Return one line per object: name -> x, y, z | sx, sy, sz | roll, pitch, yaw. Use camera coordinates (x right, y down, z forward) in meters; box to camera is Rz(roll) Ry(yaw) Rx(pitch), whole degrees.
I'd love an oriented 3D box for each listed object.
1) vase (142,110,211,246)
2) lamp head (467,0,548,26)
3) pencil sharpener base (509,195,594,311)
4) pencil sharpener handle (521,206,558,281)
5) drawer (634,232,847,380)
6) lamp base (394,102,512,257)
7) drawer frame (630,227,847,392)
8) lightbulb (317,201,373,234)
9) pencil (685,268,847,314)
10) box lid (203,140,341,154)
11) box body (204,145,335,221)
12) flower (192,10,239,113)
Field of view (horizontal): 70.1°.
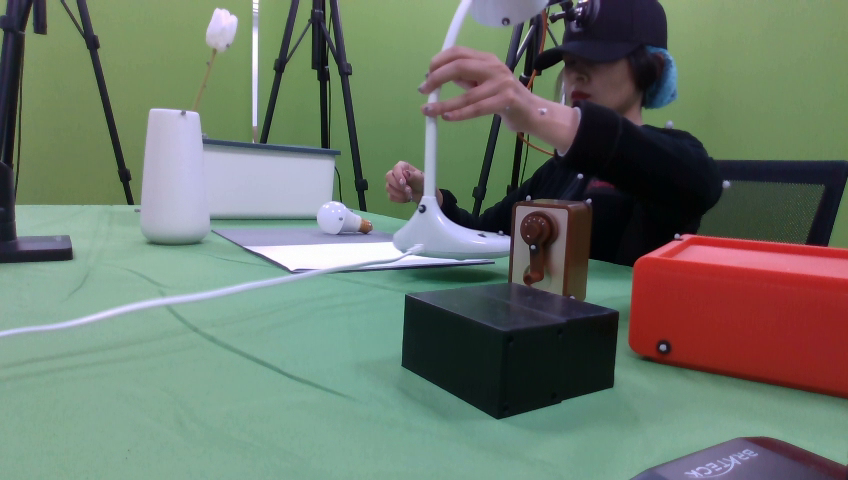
vase -> -0.378, -0.093, 0.920 | 0.098, 0.200, 0.098 | 2, 9, 0
lamp head -> 0.098, -0.352, 0.773 | 0.112, 0.112, 0.123 | 5, -28, 22
pencil sharpener base -> 0.126, 0.011, 0.601 | 0.061, 0.107, 0.077 | 7, 9, 30
pencil sharpener handle -> 0.102, 0.003, 0.555 | 0.036, 0.067, 0.031 | -1, 5, 31
drawer -> 0.291, 0.045, 0.488 | 0.193, 0.073, 0.213 | 7, 10, 30
lamp base -> 0.038, -0.074, 0.742 | 0.160, 0.180, 0.180 | 5, 10, 27
drawer frame -> 0.292, 0.043, 0.484 | 0.201, 0.082, 0.214 | 7, 9, 29
lightbulb -> -0.143, -0.036, 1.108 | 0.108, 0.059, 0.059 | 16, 0, -27
pencil -> 0.307, 0.045, 0.516 | 0.194, 0.012, 0.012 | 13, 5, -12
box lid -> -0.396, -0.213, 1.373 | 0.373, 0.015, 0.262 | -1, 9, -29
box body -> -0.411, -0.135, 1.386 | 0.366, 0.160, 0.253 | -2, 9, -29
flower -> -0.354, -0.174, 0.915 | 0.038, 0.361, 0.044 | 17, -4, 12
